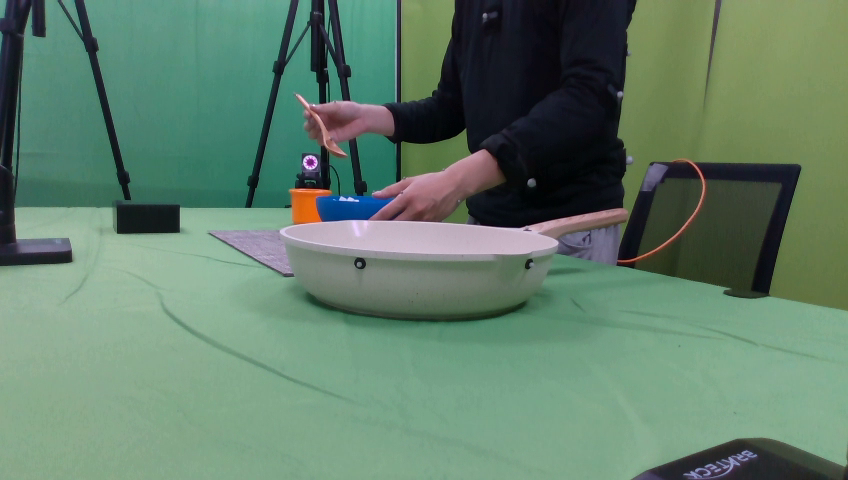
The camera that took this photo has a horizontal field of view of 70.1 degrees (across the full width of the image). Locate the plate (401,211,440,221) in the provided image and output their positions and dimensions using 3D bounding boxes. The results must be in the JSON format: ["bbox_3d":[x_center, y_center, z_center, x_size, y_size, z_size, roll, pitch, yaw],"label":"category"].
[{"bbox_3d":[-0.072,-0.035,1.196,0.208,0.039,0.207,4,6,0],"label":"plate"}]

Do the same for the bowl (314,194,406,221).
[{"bbox_3d":[-0.106,-0.032,0.991,0.151,0.077,0.151,3,7,0],"label":"bowl"}]

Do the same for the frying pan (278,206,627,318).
[{"bbox_3d":[0.079,0.002,0.705,0.490,0.102,0.305,-12,15,-33],"label":"frying pan"}]

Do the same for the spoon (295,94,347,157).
[{"bbox_3d":[-0.198,-0.219,1.144,0.042,0.021,0.193,6,43,-50],"label":"spoon"}]
